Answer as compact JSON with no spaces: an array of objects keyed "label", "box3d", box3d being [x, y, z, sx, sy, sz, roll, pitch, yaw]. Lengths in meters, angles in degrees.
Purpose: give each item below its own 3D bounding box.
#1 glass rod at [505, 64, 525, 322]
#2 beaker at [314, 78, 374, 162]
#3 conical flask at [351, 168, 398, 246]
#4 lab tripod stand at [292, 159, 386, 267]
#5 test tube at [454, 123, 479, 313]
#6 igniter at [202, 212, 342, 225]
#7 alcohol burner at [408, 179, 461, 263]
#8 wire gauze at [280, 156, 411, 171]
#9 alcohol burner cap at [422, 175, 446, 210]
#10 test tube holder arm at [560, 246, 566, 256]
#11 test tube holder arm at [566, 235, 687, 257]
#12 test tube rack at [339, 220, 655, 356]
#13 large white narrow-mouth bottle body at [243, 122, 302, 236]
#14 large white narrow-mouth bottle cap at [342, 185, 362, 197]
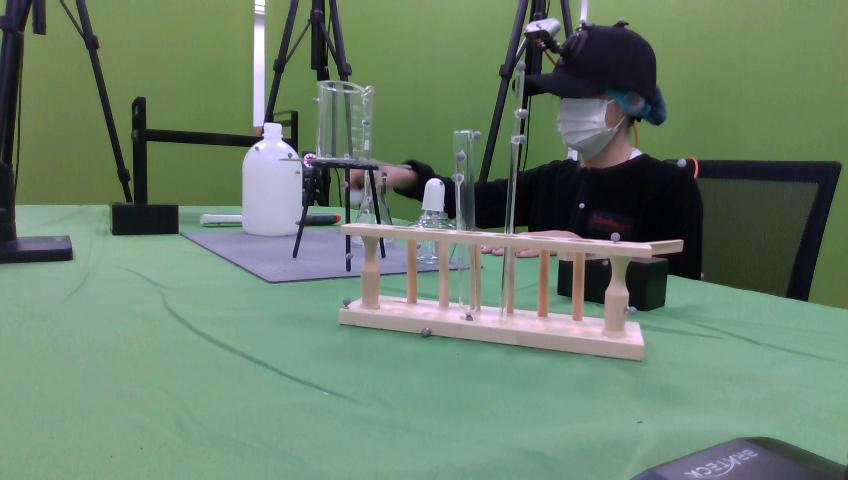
[{"label":"glass rod","box3d":[0.069,-0.030,0.458,0.008,0.199,0.008,0,15,0]},{"label":"beaker","box3d":[-0.101,-0.151,0.775,0.074,0.100,0.083,-2,8,-39]},{"label":"conical flask","box3d":[-0.078,-0.053,0.962,0.075,0.122,0.075,2,7,0]},{"label":"lab tripod stand","box3d":[-0.105,-0.039,0.797,0.148,0.131,0.148,2,5,0]},{"label":"test tube","box3d":[0.034,-0.016,0.477,0.017,0.150,0.017,-2,9,1]},{"label":"igniter","box3d":[-0.298,-0.043,1.216,0.278,0.025,0.057,-3,-2,-32]},{"label":"alcohol burner","box3d":[0.014,-0.029,0.834,0.078,0.119,0.078,0,6,0]},{"label":"wire gauze","box3d":[-0.103,-0.103,0.785,0.121,0.011,0.126,11,8,42]},{"label":"alcohol burner cap","box3d":[0.016,-0.065,0.830,0.034,0.048,0.034,7,4,0]},{"label":"test tube holder arm","box3d":[0.173,0.007,0.611,0.088,0.015,0.010,-3,10,-30]},{"label":"test tube holder arm","box3d":[0.215,0.006,0.629,0.179,0.015,0.013,-3,10,-30]},{"label":"test tube rack","box3d":[0.056,0.032,0.495,0.242,0.085,0.067,4,7,15]},{"label":"large white narrow-mouth bottle body","box3d":[-0.264,-0.109,1.061,0.102,0.194,0.102,2,8,0]},{"label":"large white narrow-mouth bottle cap","box3d":[-0.139,-0.095,1.162,0.038,0.024,0.037,2,8,0]}]
